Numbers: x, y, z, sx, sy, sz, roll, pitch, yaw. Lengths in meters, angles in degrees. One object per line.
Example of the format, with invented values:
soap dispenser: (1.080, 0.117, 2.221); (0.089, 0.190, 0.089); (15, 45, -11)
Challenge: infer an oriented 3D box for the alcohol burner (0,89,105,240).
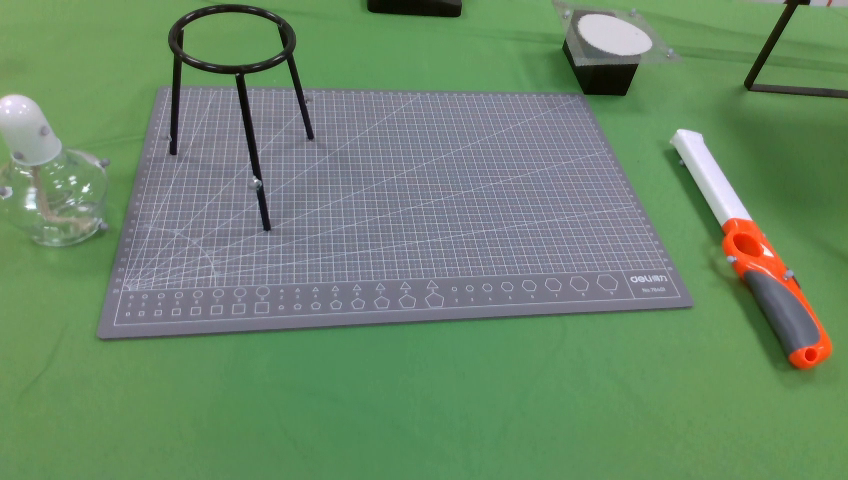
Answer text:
alcohol burner: (-0.276, -0.057, 0.435); (0.078, 0.120, 0.077); (6, 46, -6)

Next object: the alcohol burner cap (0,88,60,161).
alcohol burner cap: (-0.272, -0.080, 0.408); (0.034, 0.048, 0.033); (4, 54, -5)

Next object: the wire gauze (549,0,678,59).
wire gauze: (0.208, -0.239, 0.683); (0.122, 0.011, 0.123); (0, 49, -11)

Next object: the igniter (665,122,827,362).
igniter: (0.281, -0.012, 0.545); (0.057, 0.025, 0.273); (8, 47, -17)

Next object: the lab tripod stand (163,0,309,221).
lab tripod stand: (-0.146, -0.109, 0.486); (0.149, 0.132, 0.147); (6, 48, -6)
